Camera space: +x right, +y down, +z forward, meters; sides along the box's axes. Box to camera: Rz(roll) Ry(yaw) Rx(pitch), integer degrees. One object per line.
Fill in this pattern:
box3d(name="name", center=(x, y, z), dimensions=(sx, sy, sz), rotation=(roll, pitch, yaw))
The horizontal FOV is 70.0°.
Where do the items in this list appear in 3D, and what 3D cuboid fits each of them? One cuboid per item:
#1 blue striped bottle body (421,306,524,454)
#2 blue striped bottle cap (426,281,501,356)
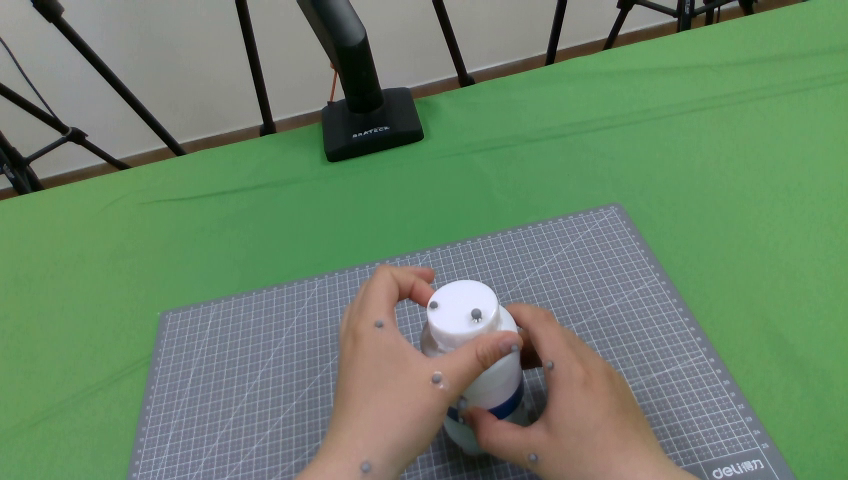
box3d(name="blue striped bottle body", center=(0.033, 0.085, 0.401), dimensions=(0.063, 0.122, 0.062), rotation=(-5, 43, 5))
box3d(name="blue striped bottle cap", center=(0.024, 0.046, 0.366), dimensions=(0.044, 0.021, 0.044), rotation=(-7, 45, 8))
